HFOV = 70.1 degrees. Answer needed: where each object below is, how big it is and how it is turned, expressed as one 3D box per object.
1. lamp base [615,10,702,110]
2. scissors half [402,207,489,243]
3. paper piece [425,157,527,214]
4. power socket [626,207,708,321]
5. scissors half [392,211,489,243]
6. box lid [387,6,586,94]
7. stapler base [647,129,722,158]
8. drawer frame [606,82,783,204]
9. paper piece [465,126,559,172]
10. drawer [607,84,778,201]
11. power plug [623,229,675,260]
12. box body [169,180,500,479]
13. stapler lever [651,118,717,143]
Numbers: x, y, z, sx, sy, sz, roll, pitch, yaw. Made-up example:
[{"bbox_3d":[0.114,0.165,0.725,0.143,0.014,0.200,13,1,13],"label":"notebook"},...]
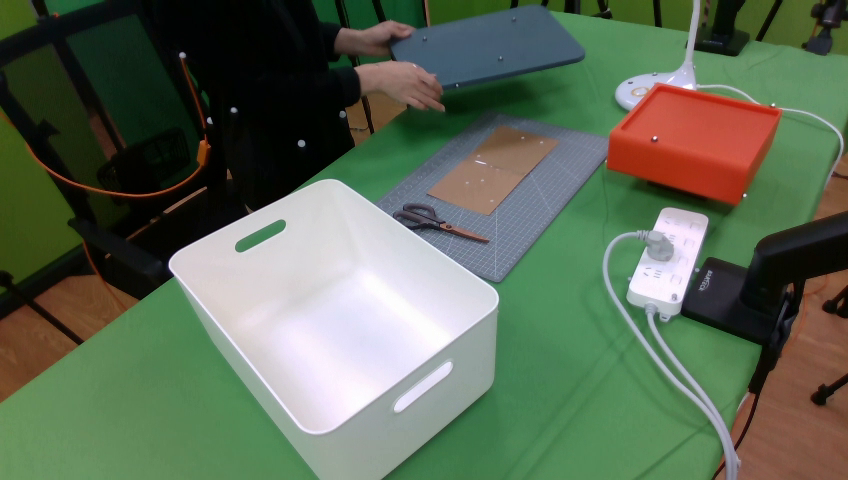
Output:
[{"bbox_3d":[0.484,-0.364,1.211,0.180,0.181,0.159,-15,41,-14],"label":"lamp base"},{"bbox_3d":[0.035,-0.025,1.011,0.174,0.013,0.040,25,29,33],"label":"scissors half"},{"bbox_3d":[0.095,-0.103,1.089,0.134,0.004,0.136,22,48,30],"label":"paper piece"},{"bbox_3d":[0.360,0.026,0.886,0.072,0.033,0.227,16,46,26],"label":"power socket"},{"bbox_3d":[0.024,-0.018,0.995,0.174,0.013,0.040,15,30,18],"label":"scissors half"},{"bbox_3d":[0.120,-0.403,1.263,0.372,0.015,0.261,-14,44,-7],"label":"box lid"},{"bbox_3d":[0.439,-0.167,1.023,0.131,0.024,0.041,-16,25,-15],"label":"stapler base"},{"bbox_3d":[0.441,-0.167,0.995,0.212,0.083,0.202,23,48,30],"label":"drawer frame"},{"bbox_3d":[0.171,-0.177,1.167,0.137,0.009,0.136,20,44,31],"label":"paper piece"},{"bbox_3d":[0.438,-0.167,0.996,0.210,0.073,0.195,23,48,30],"label":"drawer"},{"bbox_3d":[0.327,0.007,0.878,0.072,0.053,0.035,25,51,32],"label":"power plug"},{"bbox_3d":[-0.110,0.103,0.761,0.255,0.161,0.361,-33,46,-27],"label":"box body"},{"bbox_3d":[0.436,-0.192,1.014,0.118,0.040,0.026,-15,25,-16],"label":"stapler lever"}]
